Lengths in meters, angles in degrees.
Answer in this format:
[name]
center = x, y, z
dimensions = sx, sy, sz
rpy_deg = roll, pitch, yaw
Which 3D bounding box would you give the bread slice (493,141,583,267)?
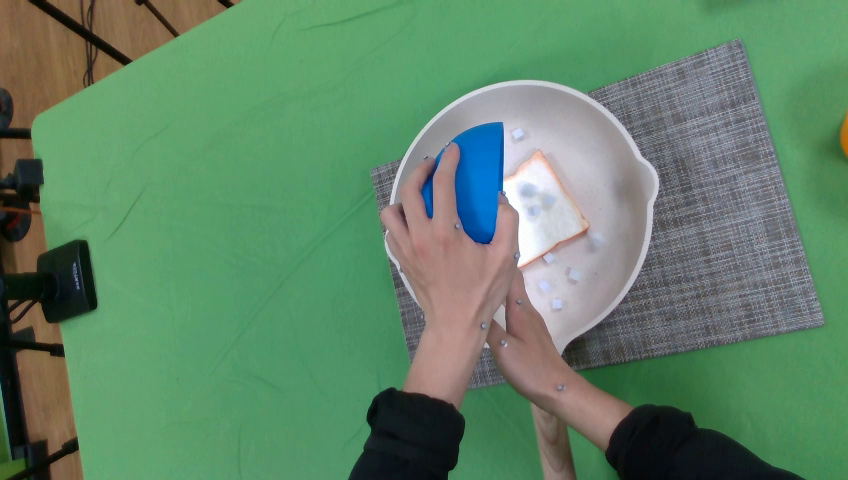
[bread slice]
center = 0.103, -0.031, 0.701
dimensions = 0.134, 0.018, 0.106
rpy_deg = -37, 75, 16

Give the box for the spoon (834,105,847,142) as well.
[spoon]
center = 0.439, -0.119, 0.498
dimensions = 0.022, 0.193, 0.041
rpy_deg = -5, 86, -22

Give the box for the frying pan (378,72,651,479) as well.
[frying pan]
center = 0.108, 0.065, 0.654
dimensions = 0.306, 0.103, 0.485
rpy_deg = -13, 75, 23

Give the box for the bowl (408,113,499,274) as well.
[bowl]
center = 0.029, -0.044, 0.572
dimensions = 0.077, 0.151, 0.151
rpy_deg = 3, 89, 8
